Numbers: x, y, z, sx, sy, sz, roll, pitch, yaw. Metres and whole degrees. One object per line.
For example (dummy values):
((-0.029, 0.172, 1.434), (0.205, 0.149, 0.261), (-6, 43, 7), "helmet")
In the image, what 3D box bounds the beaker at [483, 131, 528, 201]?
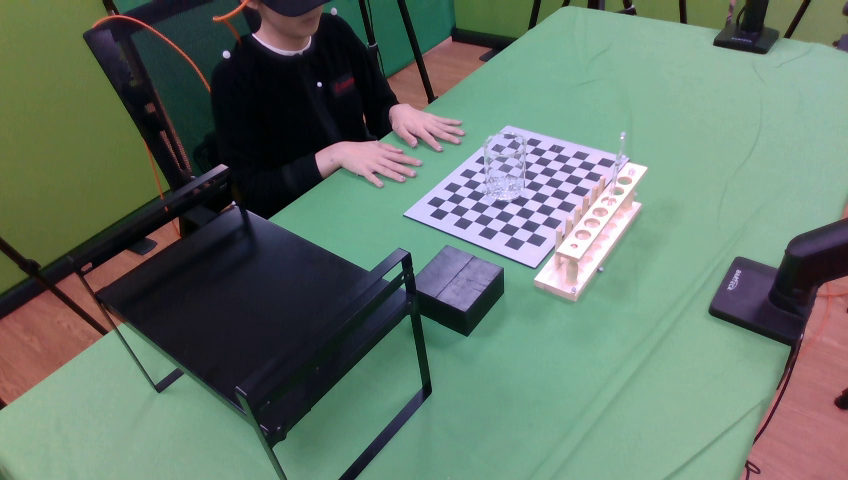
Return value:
((0.143, -0.126, 1.036), (0.073, 0.101, 0.084), (24, 49, 31), "beaker")

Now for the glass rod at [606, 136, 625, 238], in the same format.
((0.273, -0.069, 0.864), (0.008, 0.201, 0.008), (-5, 48, 6), "glass rod")

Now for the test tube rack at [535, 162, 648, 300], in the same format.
((0.257, -0.024, 0.916), (0.066, 0.085, 0.243), (22, 49, 30), "test tube rack")
